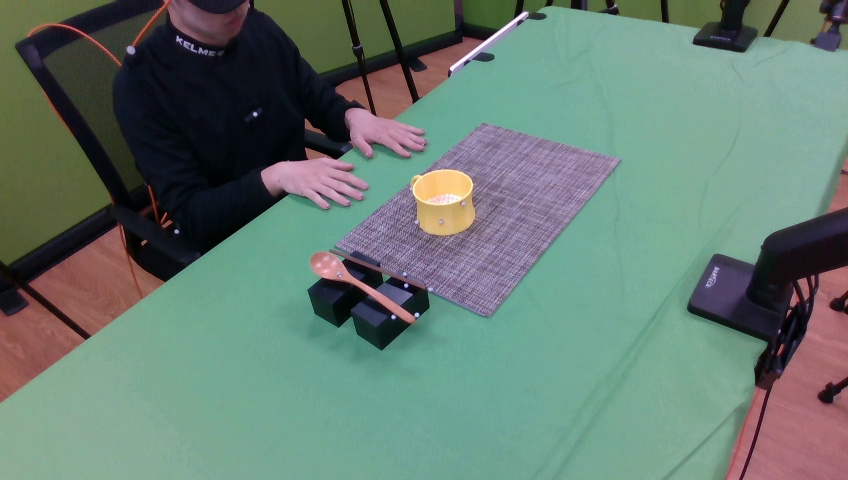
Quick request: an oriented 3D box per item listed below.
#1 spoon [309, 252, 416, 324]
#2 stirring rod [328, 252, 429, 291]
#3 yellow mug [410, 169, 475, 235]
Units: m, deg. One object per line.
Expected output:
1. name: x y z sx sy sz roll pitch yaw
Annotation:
1. spoon: -0.087 0.066 0.830 0.192 0.022 0.042 28 51 32
2. stirring rod: -0.068 0.043 0.860 0.175 0.006 0.014 18 14 28
3. yellow mug: 0.022 -0.070 1.007 0.129 0.064 0.100 29 52 36
